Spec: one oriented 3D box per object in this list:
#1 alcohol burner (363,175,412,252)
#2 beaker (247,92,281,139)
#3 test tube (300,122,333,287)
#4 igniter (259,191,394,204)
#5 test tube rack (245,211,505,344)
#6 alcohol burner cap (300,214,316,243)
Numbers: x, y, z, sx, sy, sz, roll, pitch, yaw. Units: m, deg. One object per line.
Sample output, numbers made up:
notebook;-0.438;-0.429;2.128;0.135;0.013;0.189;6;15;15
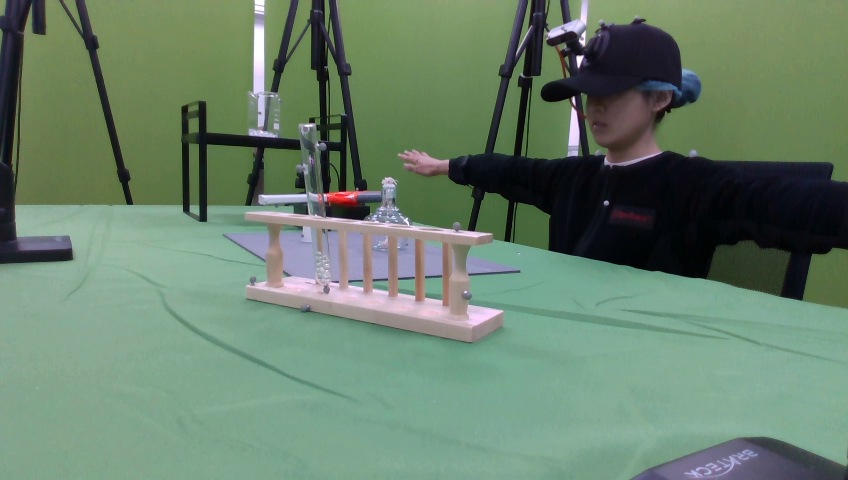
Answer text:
alcohol burner;-0.056;-0.041;0.941;0.078;0.119;0.078;3;5;0
beaker;-0.361;-0.280;1.359;0.074;0.100;0.084;4;8;8
test tube;-0.096;-0.030;0.543;0.017;0.150;0.017;-3;14;1
igniter;-0.193;-0.085;1.228;0.278;0.025;0.057;-3;12;-28
test tube rack;-0.049;0.025;0.547;0.241;0.085;0.067;7;8;29
alcohol burner cap;-0.186;-0.018;0.991;0.034;0.048;0.034;2;6;0
